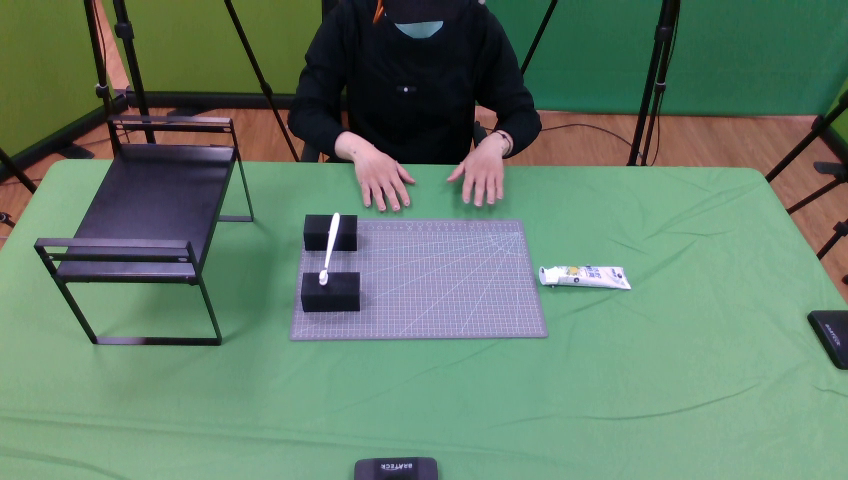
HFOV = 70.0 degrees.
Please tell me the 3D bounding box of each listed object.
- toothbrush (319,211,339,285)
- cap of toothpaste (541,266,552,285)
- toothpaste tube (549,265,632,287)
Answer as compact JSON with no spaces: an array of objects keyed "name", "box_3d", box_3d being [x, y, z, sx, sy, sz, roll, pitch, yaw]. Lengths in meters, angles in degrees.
[{"name":"toothbrush","box_3d":[-0.172,0.009,1.103,0.014,0.017,0.180,-6,44,9]},{"name":"cap of toothpaste","box_3d":[0.230,0.065,1.135,0.011,0.037,0.037,-6,47,-11]},{"name":"toothpaste tube","box_3d":[0.309,0.068,1.147,0.165,0.034,0.054,0,52,-9]}]
